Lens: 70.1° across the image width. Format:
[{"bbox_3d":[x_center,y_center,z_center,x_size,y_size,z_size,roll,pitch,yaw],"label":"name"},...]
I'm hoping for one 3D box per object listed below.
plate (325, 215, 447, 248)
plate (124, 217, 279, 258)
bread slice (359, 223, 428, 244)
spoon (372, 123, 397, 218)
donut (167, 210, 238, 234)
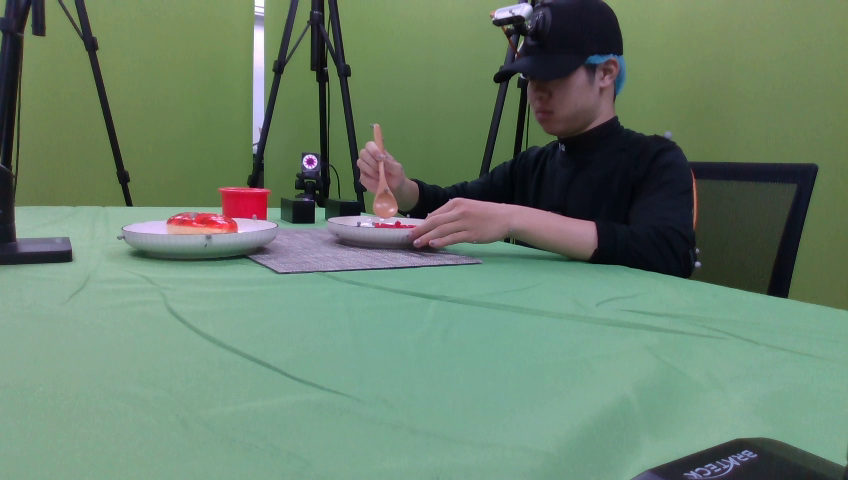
[{"bbox_3d":[-0.065,-0.015,1.034,0.209,0.038,0.209,3,8,0],"label":"plate"},{"bbox_3d":[-0.315,-0.004,0.871,0.208,0.039,0.207,1,8,0],"label":"plate"},{"bbox_3d":[-0.062,-0.012,1.035,0.105,0.019,0.131,0,10,-19],"label":"bread slice"},{"bbox_3d":[-0.073,-0.122,1.037,0.041,0.193,0.021,-6,-22,-2],"label":"spoon"},{"bbox_3d":[-0.321,-0.017,0.882,0.099,0.048,0.099,3,6,0],"label":"donut"}]
